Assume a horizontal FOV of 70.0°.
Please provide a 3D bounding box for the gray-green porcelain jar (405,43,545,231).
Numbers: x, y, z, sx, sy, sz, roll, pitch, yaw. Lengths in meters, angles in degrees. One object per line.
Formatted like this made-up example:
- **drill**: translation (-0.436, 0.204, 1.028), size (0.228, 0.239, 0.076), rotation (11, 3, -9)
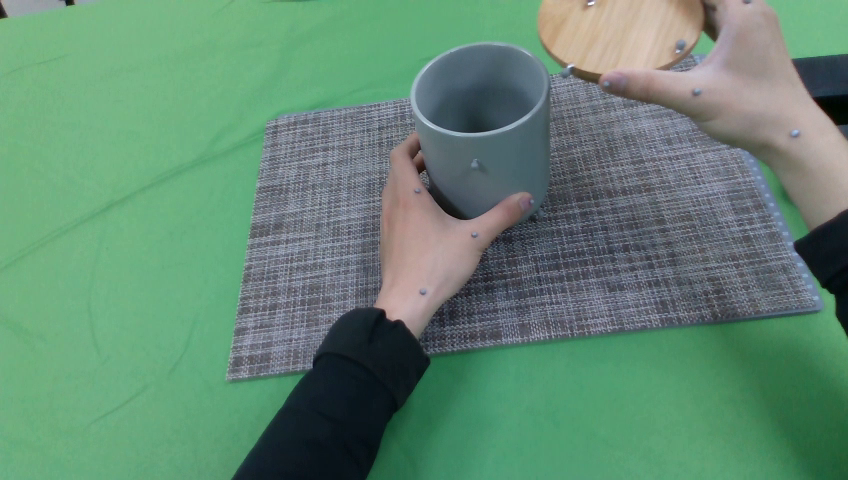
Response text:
- **gray-green porcelain jar**: translation (0.046, -0.077, 0.499), size (0.106, 0.128, 0.105), rotation (-5, 53, 7)

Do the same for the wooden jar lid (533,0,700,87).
- **wooden jar lid**: translation (0.130, -0.146, 0.416), size (0.108, 0.021, 0.107), rotation (-4, 62, 8)
